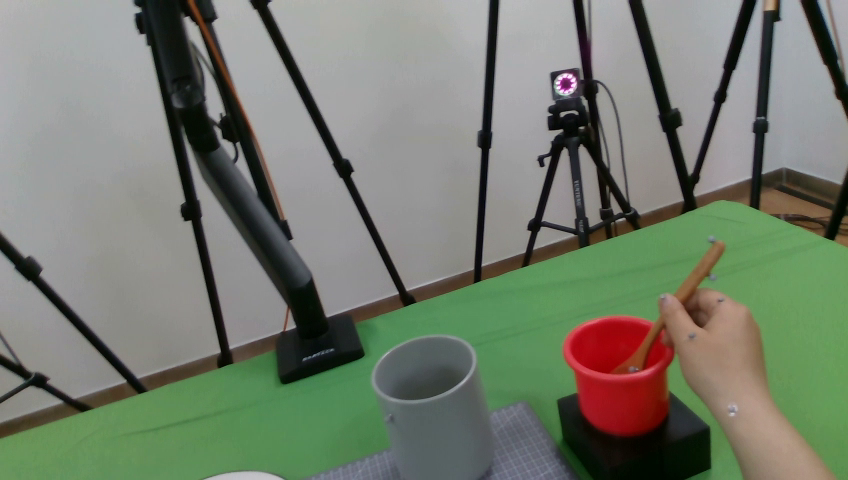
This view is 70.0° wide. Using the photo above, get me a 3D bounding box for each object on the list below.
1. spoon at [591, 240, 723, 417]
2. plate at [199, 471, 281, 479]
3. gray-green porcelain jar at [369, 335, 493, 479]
[{"bbox_3d":[0.207,0.082,0.542,0.022,0.194,0.041,14,24,-25],"label":"spoon"},{"bbox_3d":[-0.203,0.302,0.548,0.207,0.039,0.206,-10,24,5],"label":"plate"},{"bbox_3d":[0.011,0.176,0.605,0.106,0.127,0.105,-11,25,5],"label":"gray-green porcelain jar"}]
